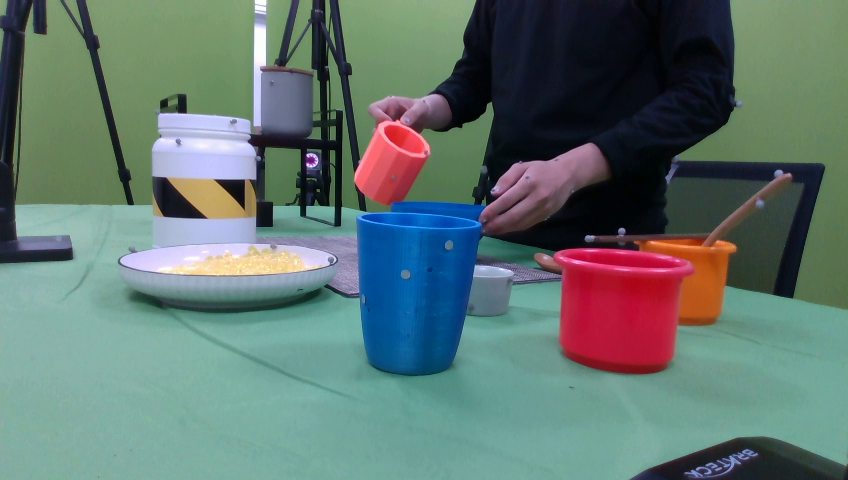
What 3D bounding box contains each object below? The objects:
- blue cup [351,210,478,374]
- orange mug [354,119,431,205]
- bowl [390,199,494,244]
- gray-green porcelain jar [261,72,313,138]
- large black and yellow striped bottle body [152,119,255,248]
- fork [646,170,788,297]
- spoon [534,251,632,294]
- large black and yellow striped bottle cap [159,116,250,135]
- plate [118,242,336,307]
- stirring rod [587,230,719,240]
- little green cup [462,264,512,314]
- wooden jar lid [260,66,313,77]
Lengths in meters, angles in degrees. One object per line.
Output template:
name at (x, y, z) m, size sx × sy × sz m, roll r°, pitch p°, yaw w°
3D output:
blue cup at (-0.009, 0.034, 0.414) m, size 0.093 × 0.100 × 0.092 m, roll 4°, pitch 8°, yaw 0°
orange mug at (-0.050, -0.129, 0.933) m, size 0.084 × 0.100 × 0.126 m, roll 19°, pitch 41°, yaw -20°
bowl at (0.023, -0.015, 0.871) m, size 0.151 × 0.077 × 0.151 m, roll 3°, pitch 7°, yaw 0°
gray-green porcelain jar at (-0.284, -0.276, 1.253) m, size 0.106 × 0.126 × 0.106 m, roll 2°, pitch 8°, yaw 0°
large black and yellow striped bottle body at (-0.296, -0.070, 0.819) m, size 0.131 × 0.184 × 0.130 m, roll 2°, pitch 7°, yaw 0°
fork at (0.256, 0.004, 0.543) m, size 0.028 × 0.018 × 0.207 m, roll 3°, pitch -36°, yaw -9°
spoon at (0.193, 0.038, 0.753) m, size 0.042 × 0.021 × 0.193 m, roll 15°, pitch 2°, yaw -21°
large black and yellow striped bottle cap at (-0.292, -0.153, 0.810) m, size 0.115 × 0.019 × 0.115 m, roll 3°, pitch 8°, yaw 0°
plate at (-0.194, 0.033, 0.615) m, size 0.209 × 0.038 × 0.209 m, roll 2°, pitch 7°, yaw 0°
stirring rod at (0.226, -0.005, 0.587) m, size 0.177 × 0.006 × 0.014 m, roll -2°, pitch 10°, yaw -30°
little green cup at (0.053, 0.047, 0.580) m, size 0.061 × 0.038 × 0.061 m, roll 3°, pitch 8°, yaw 0°
wooden jar lid at (-0.283, -0.339, 1.244) m, size 0.108 × 0.020 × 0.108 m, roll 5°, pitch 8°, yaw 0°
